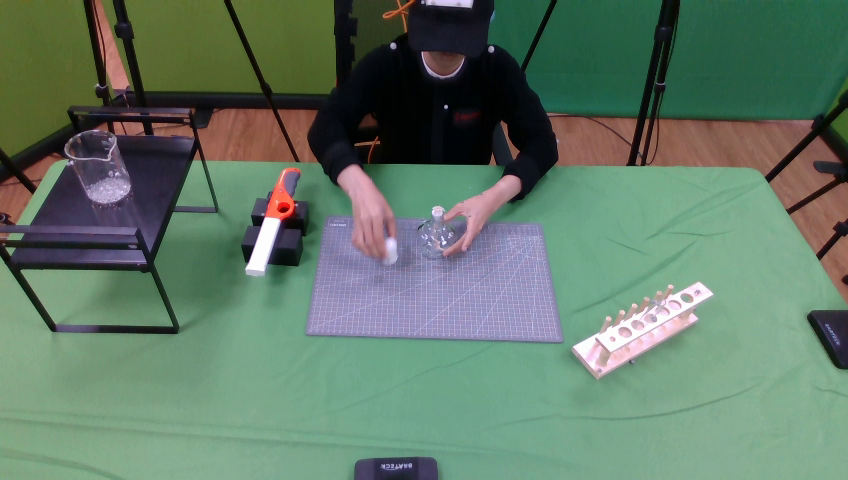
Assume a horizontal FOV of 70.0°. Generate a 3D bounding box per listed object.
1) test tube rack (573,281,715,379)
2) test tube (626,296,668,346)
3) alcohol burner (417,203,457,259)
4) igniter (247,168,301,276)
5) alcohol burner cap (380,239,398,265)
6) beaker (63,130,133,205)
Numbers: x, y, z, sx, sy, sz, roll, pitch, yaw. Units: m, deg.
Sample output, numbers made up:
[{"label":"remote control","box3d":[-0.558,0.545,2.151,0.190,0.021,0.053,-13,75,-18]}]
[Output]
[{"label":"test tube rack","box3d":[0.378,0.140,1.038,0.242,0.085,0.066,-22,51,-23]},{"label":"test tube","box3d":[0.352,0.133,0.970,0.017,0.151,0.017,3,54,-4]},{"label":"alcohol burner","box3d":[0.025,-0.022,1.150,0.078,0.120,0.077,0,45,0]},{"label":"igniter","box3d":[-0.282,-0.043,1.149,0.057,0.025,0.275,8,48,-1]},{"label":"alcohol burner cap","box3d":[-0.063,0.020,1.100,0.034,0.048,0.033,2,50,-3]},{"label":"beaker","box3d":[-0.511,-0.112,0.964,0.083,0.101,0.074,31,52,23]}]
